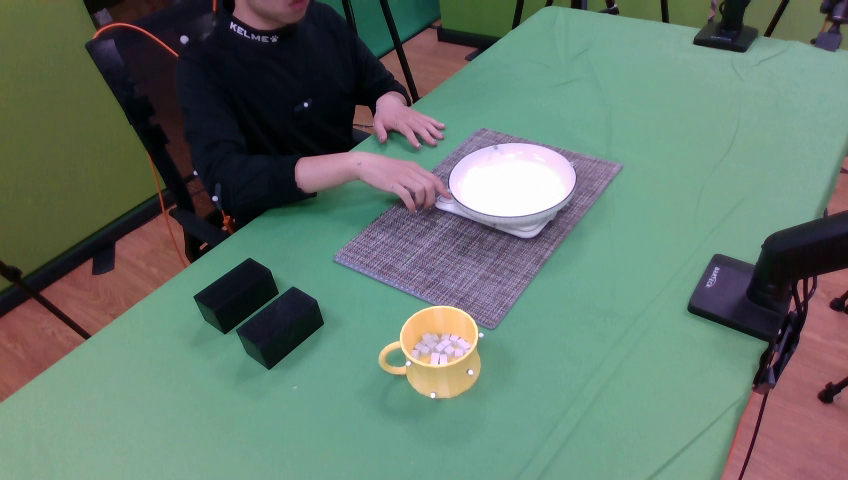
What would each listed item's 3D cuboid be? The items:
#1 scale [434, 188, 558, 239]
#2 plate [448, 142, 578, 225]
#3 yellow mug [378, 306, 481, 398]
[{"bbox_3d":[0.132,-0.075,1.025,0.199,0.032,0.149,22,48,30],"label":"scale"},{"bbox_3d":[0.145,-0.089,0.989,0.209,0.038,0.208,-4,41,4],"label":"plate"},{"bbox_3d":[0.006,0.144,0.767,0.131,0.064,0.099,-10,40,-2],"label":"yellow mug"}]
